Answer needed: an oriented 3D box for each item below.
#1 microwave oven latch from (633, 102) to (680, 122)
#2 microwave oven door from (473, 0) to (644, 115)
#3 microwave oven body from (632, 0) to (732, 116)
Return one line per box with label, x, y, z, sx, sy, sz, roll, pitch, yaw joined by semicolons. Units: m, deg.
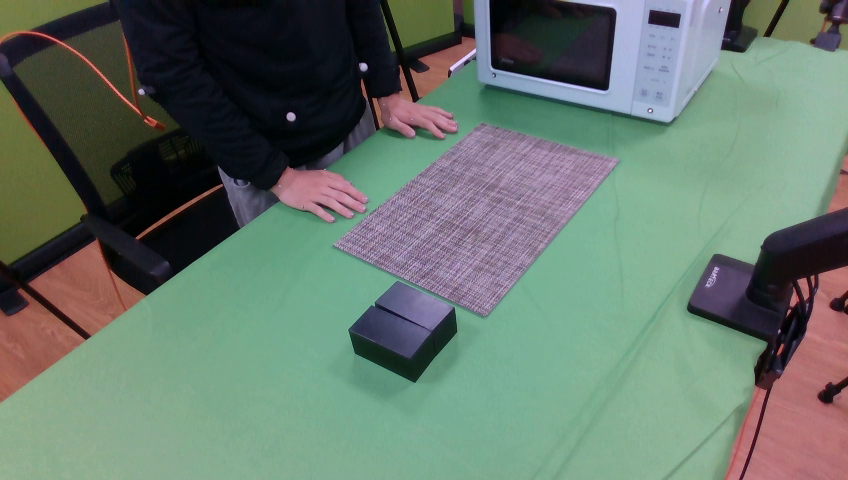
microwave oven latch;0.444;-0.249;1.157;0.078;0.029;0.030;21;49;30
microwave oven door;0.257;-0.396;1.199;0.353;0.245;0.039;21;48;29
microwave oven body;0.377;-0.462;1.267;0.438;0.261;0.327;21;48;30
